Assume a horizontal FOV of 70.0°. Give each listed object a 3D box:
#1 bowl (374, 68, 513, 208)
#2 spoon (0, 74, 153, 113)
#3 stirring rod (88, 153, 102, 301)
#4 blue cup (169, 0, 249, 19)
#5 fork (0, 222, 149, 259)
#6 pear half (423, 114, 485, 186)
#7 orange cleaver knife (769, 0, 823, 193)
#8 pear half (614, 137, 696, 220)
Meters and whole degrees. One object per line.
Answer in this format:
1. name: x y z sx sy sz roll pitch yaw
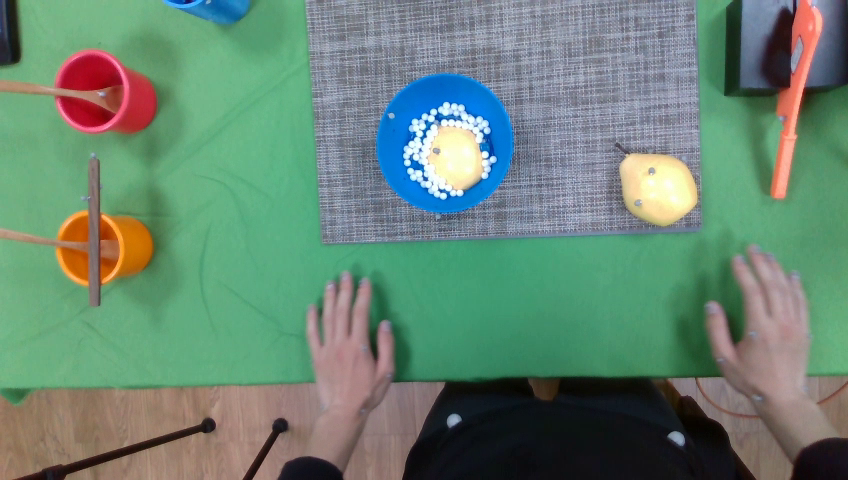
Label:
1. bowl: 0.025 -0.111 0.687 0.151 0.077 0.151 0 94 8
2. spoon: -0.426 -0.180 0.715 0.195 0.021 0.041 0 97 -36
3. stirring rod: -0.389 -0.014 0.716 0.014 0.006 0.176 2 95 4
4. blue cup: -0.252 -0.302 0.704 0.092 0.100 0.092 1 94 10
5. fork: -0.440 -0.004 0.725 0.209 0.018 0.028 13 106 -37
6. pear half: 0.030 -0.105 0.681 0.070 0.031 0.088 -29 86 7
7. orange cleaver knife: 0.385 -0.153 0.637 0.012 0.076 0.213 0 122 13
8. pear half: 0.251 -0.075 0.675 0.076 0.056 0.109 -43 84 3
